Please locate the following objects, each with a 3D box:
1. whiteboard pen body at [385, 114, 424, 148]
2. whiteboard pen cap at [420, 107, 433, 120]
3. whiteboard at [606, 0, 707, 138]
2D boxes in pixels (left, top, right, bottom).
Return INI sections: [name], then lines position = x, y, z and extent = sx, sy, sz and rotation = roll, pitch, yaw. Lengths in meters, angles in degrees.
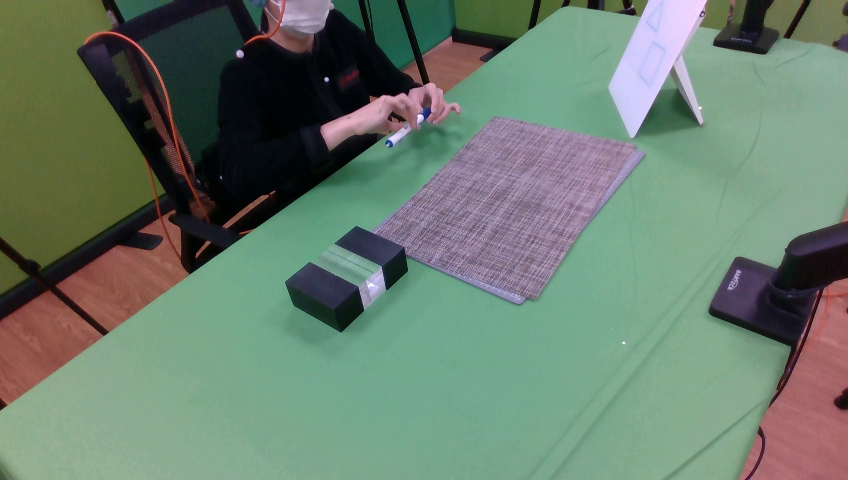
[whiteboard pen body]
position = -0.030, -0.211, 1.137
extent = 0.017, 0.017, 0.141
rotation = 18, 44, 26
[whiteboard pen cap]
position = 0.002, -0.246, 1.175
extent = 0.018, 0.018, 0.033
rotation = 17, 42, 25
[whiteboard]
position = 0.496, -0.359, 1.147
extent = 0.144, 0.305, 0.216
rotation = 12, 40, -7
